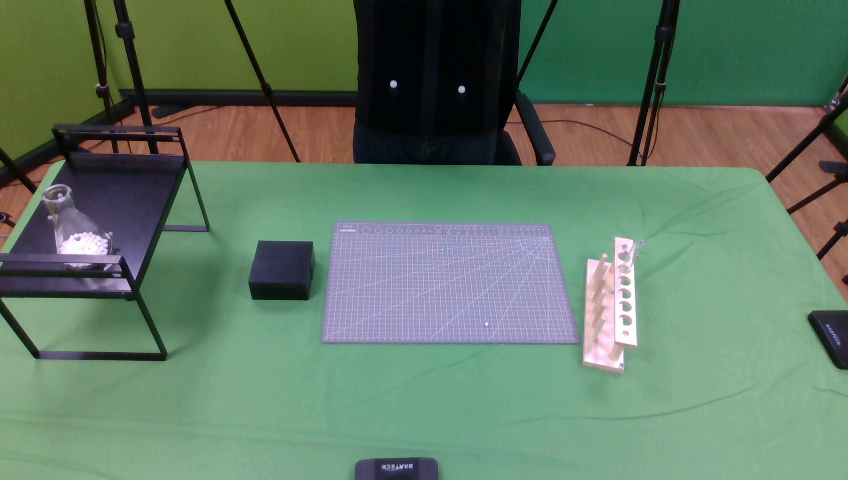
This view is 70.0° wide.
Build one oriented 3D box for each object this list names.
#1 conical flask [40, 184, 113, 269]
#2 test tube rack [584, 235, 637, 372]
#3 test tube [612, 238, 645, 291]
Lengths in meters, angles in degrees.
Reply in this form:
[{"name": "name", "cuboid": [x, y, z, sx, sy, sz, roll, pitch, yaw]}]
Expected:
[{"name": "conical flask", "cuboid": [-0.501, -0.022, 0.861, 0.075, 0.122, 0.075, 1, 46, -1]}, {"name": "test tube rack", "cuboid": [0.329, 0.103, 1.073, 0.067, 0.085, 0.241, 11, 47, 7]}, {"name": "test tube", "cuboid": [0.355, 0.046, 1.061, 0.017, 0.151, 0.017, 1, 54, -1]}]
